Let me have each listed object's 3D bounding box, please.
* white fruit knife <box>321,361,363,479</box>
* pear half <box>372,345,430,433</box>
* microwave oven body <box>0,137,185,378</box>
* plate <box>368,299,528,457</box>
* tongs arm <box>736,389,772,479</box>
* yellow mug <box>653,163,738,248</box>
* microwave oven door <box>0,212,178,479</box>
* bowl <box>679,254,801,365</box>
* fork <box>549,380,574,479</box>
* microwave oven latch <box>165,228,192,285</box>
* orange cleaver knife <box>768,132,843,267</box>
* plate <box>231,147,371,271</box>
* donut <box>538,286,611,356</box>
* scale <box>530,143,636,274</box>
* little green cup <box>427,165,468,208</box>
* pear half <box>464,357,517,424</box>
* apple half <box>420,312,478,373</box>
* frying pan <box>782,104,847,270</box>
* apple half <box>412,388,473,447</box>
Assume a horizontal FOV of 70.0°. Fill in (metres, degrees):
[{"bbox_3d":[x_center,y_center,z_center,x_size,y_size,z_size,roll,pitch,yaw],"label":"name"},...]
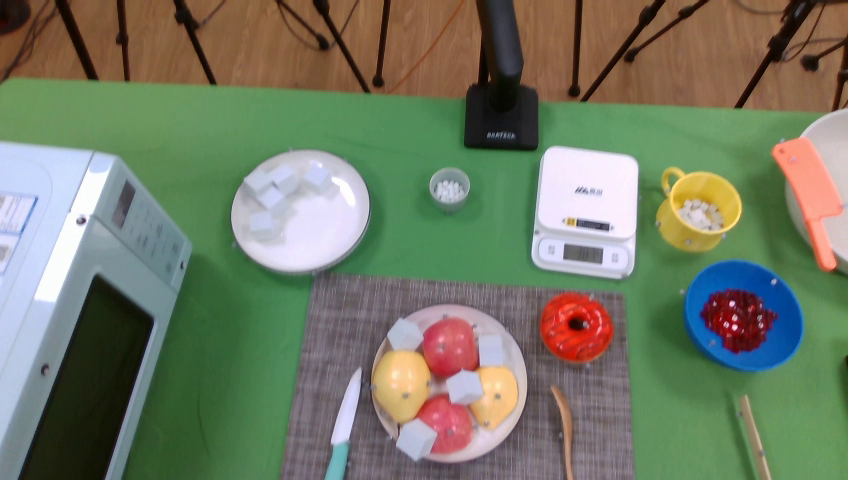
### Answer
[{"bbox_3d":[-0.109,0.256,0.784,0.027,0.016,0.206,15,65,-5],"label":"white fruit knife"},{"bbox_3d":[-0.028,0.190,0.777,0.076,0.056,0.109,0,70,-7],"label":"pear half"},{"bbox_3d":[-0.529,0.126,0.715,0.326,0.262,0.438,6,66,3],"label":"microwave oven body"},{"bbox_3d":[0.032,0.181,0.804,0.209,0.038,0.207,0,66,1],"label":"plate"},{"bbox_3d":[0.449,0.368,0.718,0.051,0.027,0.381,-3,66,-4],"label":"tongs arm"},{"bbox_3d":[0.390,-0.059,0.896,0.100,0.064,0.129,-26,67,-10],"label":"yellow mug"},{"bbox_3d":[-0.389,0.177,0.684,0.039,0.245,0.353,6,66,4],"label":"microwave oven door"},{"bbox_3d":[0.411,0.102,0.816,0.151,0.077,0.150,0,66,1],"label":"bowl"},{"bbox_3d":[0.186,0.279,0.767,0.018,0.028,0.205,-15,66,23],"label":"fork"},{"bbox_3d":[-0.357,0.023,0.866,0.030,0.030,0.078,8,67,4],"label":"microwave oven latch"},{"bbox_3d":[0.549,-0.063,0.853,0.077,0.012,0.209,-4,66,-5],"label":"orange cleaver knife"},{"bbox_3d":[-0.182,-0.045,0.915,0.208,0.039,0.206,0,65,1],"label":"plate"},{"bbox_3d":[0.205,0.111,0.830,0.099,0.048,0.098,-1,66,3],"label":"donut"},{"bbox_3d":[0.242,-0.051,0.914,0.148,0.032,0.199,8,66,5],"label":"scale"},{"bbox_3d":[0.036,-0.079,0.927,0.061,0.039,0.061,0,65,1],"label":"little green cup"},{"bbox_3d":[0.085,0.193,0.791,0.070,0.031,0.087,0,62,16],"label":"pear half"},{"bbox_3d":[0.032,0.134,0.806,0.075,0.054,0.080,-8,69,0],"label":"apple half"},{"bbox_3d":[0.707,0.014,0.837,0.307,0.103,0.482,-21,59,-7],"label":"frying pan"},{"bbox_3d":[0.023,0.225,0.775,0.081,0.033,0.080,1,60,-1],"label":"apple half"}]
